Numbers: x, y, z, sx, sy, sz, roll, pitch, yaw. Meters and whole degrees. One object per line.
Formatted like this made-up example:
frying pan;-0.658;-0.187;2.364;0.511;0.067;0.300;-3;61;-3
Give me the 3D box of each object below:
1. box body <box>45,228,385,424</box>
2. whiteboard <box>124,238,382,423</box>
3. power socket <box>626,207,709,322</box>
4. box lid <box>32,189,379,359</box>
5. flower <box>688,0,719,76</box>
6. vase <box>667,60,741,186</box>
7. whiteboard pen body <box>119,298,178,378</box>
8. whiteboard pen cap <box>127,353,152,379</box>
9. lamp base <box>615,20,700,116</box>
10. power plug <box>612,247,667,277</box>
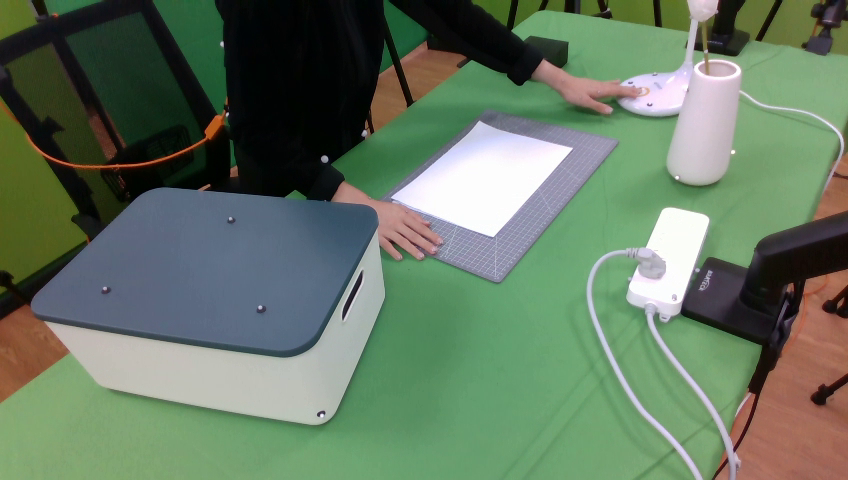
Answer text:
box body;-0.254;0.082;0.807;0.363;0.161;0.253;5;42;14
whiteboard;-0.242;0.094;0.809;0.304;0.144;0.216;4;45;13
power socket;0.360;0.026;0.886;0.072;0.033;0.227;17;46;27
box lid;-0.260;0.025;0.758;0.370;0.015;0.263;5;41;14
flower;0.436;-0.242;0.934;0.038;0.364;0.043;-23;49;9
vase;0.463;-0.189;0.994;0.098;0.201;0.097;-4;40;4
whiteboard pen body;-0.396;0.139;0.869;0.017;0.017;0.140;6;46;15
whiteboard pen cap;-0.385;0.171;0.820;0.018;0.018;0.033;7;42;16
lamp base;0.484;-0.364;1.211;0.180;0.181;0.159;-15;41;-14
power plug;0.306;0.031;0.852;0.072;0.053;0.035;21;48;38
